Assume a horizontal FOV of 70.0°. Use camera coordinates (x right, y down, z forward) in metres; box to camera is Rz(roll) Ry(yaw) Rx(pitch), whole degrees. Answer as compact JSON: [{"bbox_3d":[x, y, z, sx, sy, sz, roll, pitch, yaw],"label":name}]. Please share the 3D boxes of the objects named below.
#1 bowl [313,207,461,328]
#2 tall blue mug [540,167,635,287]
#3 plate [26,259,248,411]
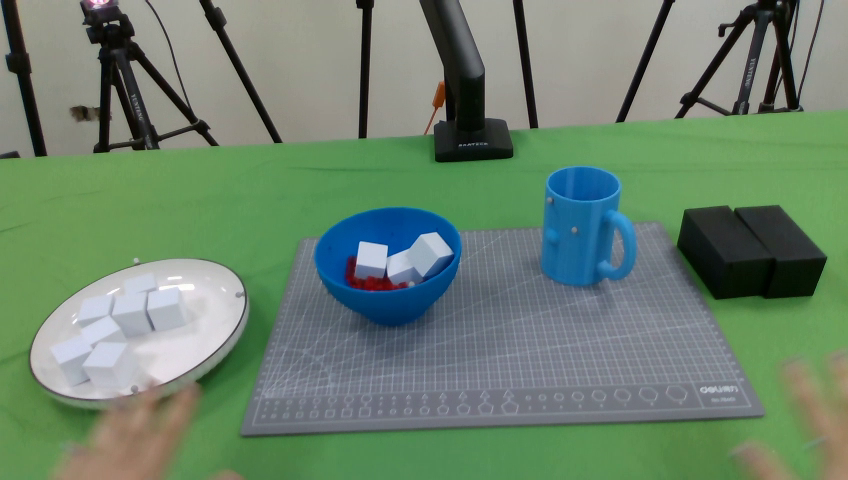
[{"bbox_3d":[-0.035,0.038,0.632,0.151,0.077,0.150,-3,35,2],"label":"bowl"},{"bbox_3d":[0.180,-0.010,0.651,0.106,0.109,0.077,16,39,26],"label":"tall blue mug"},{"bbox_3d":[-0.282,0.095,0.617,0.209,0.038,0.207,-2,35,2],"label":"plate"}]
